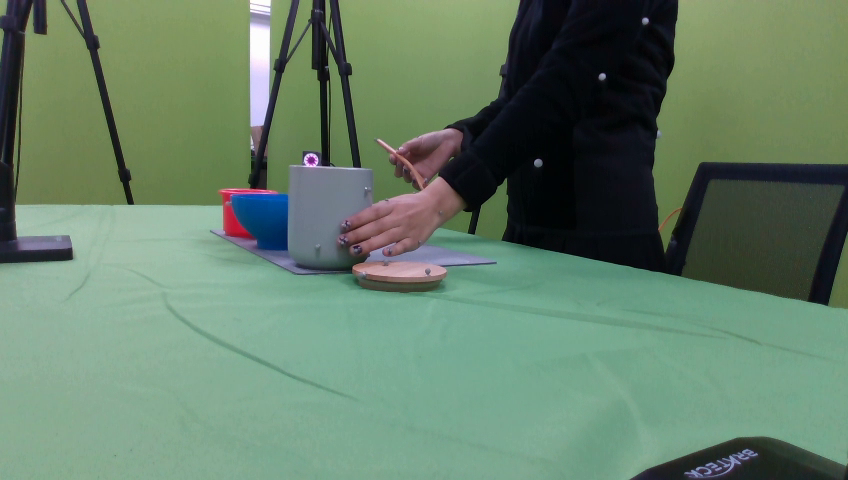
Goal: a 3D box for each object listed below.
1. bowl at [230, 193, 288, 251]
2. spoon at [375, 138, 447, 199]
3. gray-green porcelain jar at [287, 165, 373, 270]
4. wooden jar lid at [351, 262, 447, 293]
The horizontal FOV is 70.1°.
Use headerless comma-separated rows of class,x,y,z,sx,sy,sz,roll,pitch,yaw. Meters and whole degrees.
bowl,-0.214,-0.028,0.912,0.151,0.077,0.151,2,8,0
spoon,-0.026,-0.132,1.100,0.193,0.021,0.042,48,29,25
gray-green porcelain jar,-0.119,-0.029,0.767,0.106,0.126,0.106,2,7,0
wooden jar lid,-0.028,0.042,0.686,0.108,0.020,0.108,3,8,0
